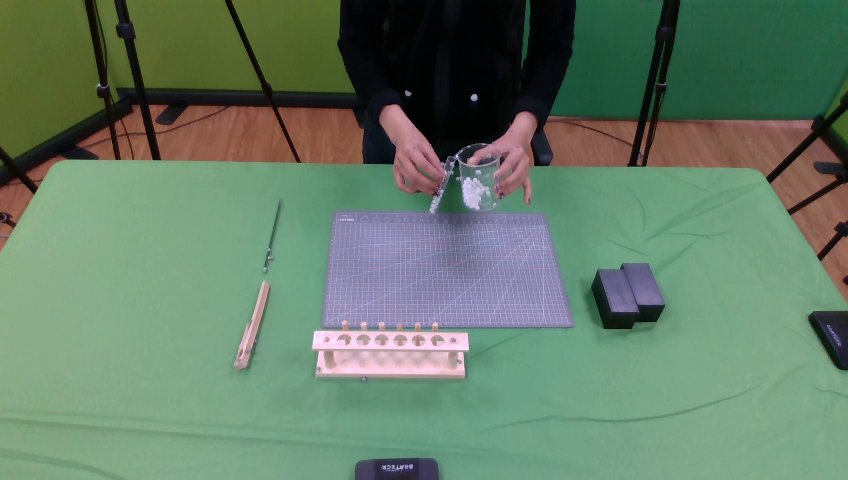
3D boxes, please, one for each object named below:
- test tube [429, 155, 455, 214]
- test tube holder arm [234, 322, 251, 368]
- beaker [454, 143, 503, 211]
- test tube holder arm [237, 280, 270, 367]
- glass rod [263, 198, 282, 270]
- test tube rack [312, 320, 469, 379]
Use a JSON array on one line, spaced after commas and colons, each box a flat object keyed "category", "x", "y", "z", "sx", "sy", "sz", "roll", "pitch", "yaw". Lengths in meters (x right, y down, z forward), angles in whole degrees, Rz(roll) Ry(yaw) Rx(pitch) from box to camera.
[{"category": "test tube", "x": 0.031, "y": -0.097, "z": 1.100, "sx": 0.017, "sy": 0.151, "sz": 0.017, "roll": 8, "pitch": 52, "yaw": -10}, {"category": "test tube holder arm", "x": -0.299, "y": 0.173, "z": 1.013, "sx": 0.010, "sy": 0.015, "sz": 0.087, "roll": -17, "pitch": 41, "yaw": 22}, {"category": "beaker", "x": 0.097, "y": -0.109, "z": 1.061, "sx": 0.084, "sy": 0.101, "sz": 0.073, "roll": 5, "pitch": 40, "yaw": 15}, {"category": "test tube holder arm", "x": -0.291, "y": 0.140, "z": 1.042, "sx": 0.013, "sy": 0.015, "sz": 0.177, "roll": -17, "pitch": 41, "yaw": 22}, {"category": "glass rod", "x": -0.299, "y": -0.017, "z": 1.202, "sx": 0.008, "sy": 0.008, "sz": 0.198, "roll": 1, "pitch": 46, "yaw": -2}, {"category": "test tube rack", "x": -0.054, "y": 0.173, "z": 0.984, "sx": 0.242, "sy": 0.085, "sz": 0.066, "roll": 1, "pitch": 46, "yaw": -3}]
